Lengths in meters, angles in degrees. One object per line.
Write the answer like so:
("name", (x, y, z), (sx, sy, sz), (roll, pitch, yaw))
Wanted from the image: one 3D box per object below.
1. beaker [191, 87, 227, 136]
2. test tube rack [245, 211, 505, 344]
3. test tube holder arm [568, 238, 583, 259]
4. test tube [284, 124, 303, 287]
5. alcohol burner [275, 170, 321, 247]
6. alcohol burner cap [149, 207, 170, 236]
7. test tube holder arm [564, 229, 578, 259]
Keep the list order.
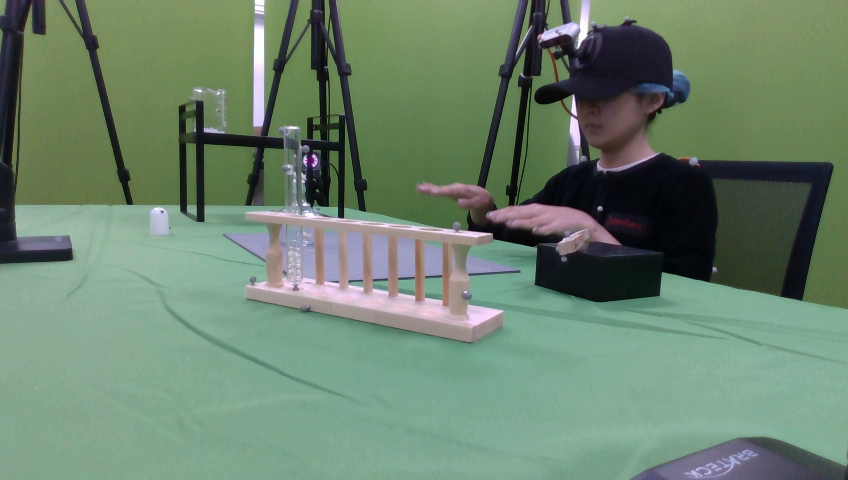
("beaker", (-0.476, -0.284, 1.345), (0.074, 0.100, 0.083), (-3, 10, -37))
("test tube rack", (-0.049, 0.025, 0.547), (0.241, 0.085, 0.067), (7, 8, 29))
("test tube holder arm", (0.166, 0.008, 0.661), (0.010, 0.015, 0.088), (8, 9, 18))
("test tube", (-0.120, -0.030, 0.558), (0.017, 0.150, 0.017), (2, 10, 0))
("alcohol burner", (-0.199, -0.050, 0.948), (0.078, 0.119, 0.078), (1, 7, 0))
("alcohol burner cap", (-0.445, -0.032, 1.019), (0.034, 0.048, 0.034), (4, 8, 0))
("test tube holder arm", (0.173, 0.002, 0.706), (0.013, 0.015, 0.179), (7, 9, 13))
